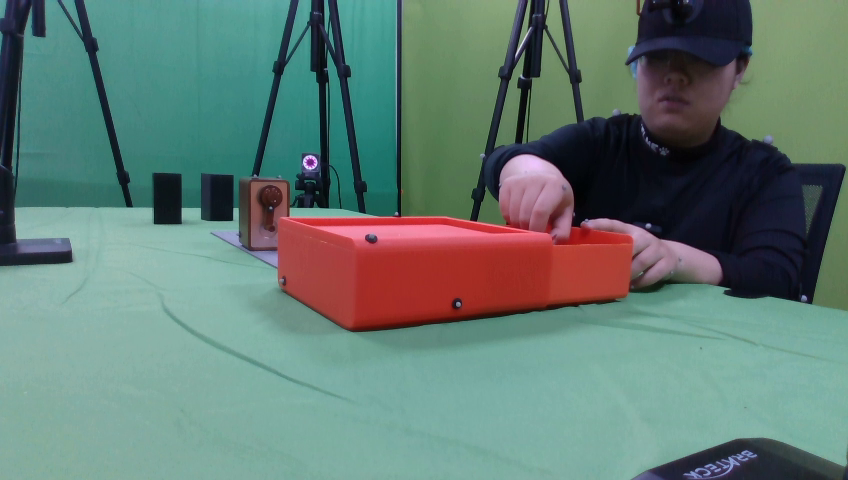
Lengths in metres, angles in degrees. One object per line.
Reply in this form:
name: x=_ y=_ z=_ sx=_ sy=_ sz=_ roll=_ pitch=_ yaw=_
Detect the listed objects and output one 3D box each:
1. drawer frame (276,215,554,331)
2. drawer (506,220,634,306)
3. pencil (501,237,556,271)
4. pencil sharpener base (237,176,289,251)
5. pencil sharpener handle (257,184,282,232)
drawer frame: x=-0.015 y=0.022 z=0.610 sx=0.215 sy=0.082 sz=0.200 roll=-2 pitch=9 yaw=-32
drawer: x=0.086 y=0.021 z=0.673 sx=0.213 sy=0.073 sz=0.193 roll=-2 pitch=9 yaw=-32
pencil: x=0.119 y=0.016 z=0.703 sx=0.012 sy=0.012 sz=0.194 roll=2 pitch=-12 yaw=-8
pencil sharpener base: x=-0.243 y=-0.040 z=0.911 sx=0.061 sy=0.107 sz=0.076 roll=-1 pitch=8 yaw=-29
pencil sharpener handle: x=-0.220 y=-0.046 z=0.865 sx=0.036 sy=0.067 sz=0.030 roll=8 pitch=4 yaw=-29
